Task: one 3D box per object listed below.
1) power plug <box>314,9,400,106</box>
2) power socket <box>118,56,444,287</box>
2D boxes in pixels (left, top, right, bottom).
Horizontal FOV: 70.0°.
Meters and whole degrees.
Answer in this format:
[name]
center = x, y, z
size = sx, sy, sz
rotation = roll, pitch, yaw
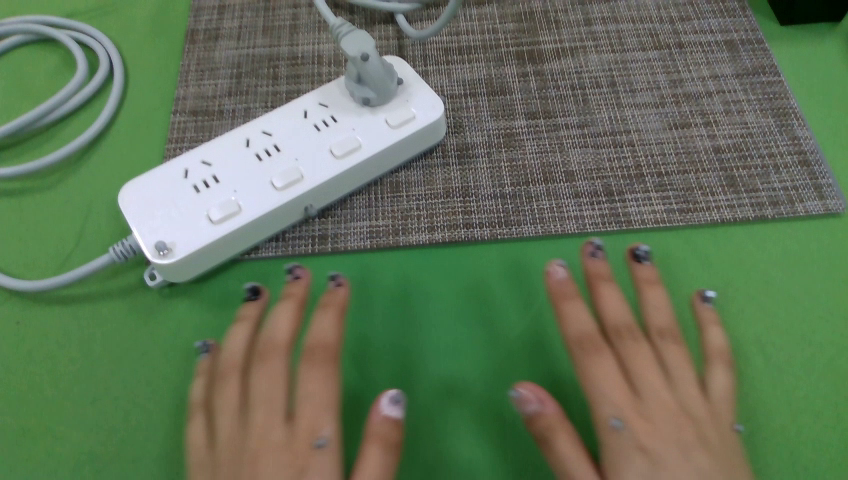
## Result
[power plug]
center = -0.043, -0.120, 0.409
size = 0.035, 0.053, 0.072
rotation = -22, 64, -10
[power socket]
center = -0.087, -0.051, 0.397
size = 0.227, 0.033, 0.071
rotation = -31, 64, -15
